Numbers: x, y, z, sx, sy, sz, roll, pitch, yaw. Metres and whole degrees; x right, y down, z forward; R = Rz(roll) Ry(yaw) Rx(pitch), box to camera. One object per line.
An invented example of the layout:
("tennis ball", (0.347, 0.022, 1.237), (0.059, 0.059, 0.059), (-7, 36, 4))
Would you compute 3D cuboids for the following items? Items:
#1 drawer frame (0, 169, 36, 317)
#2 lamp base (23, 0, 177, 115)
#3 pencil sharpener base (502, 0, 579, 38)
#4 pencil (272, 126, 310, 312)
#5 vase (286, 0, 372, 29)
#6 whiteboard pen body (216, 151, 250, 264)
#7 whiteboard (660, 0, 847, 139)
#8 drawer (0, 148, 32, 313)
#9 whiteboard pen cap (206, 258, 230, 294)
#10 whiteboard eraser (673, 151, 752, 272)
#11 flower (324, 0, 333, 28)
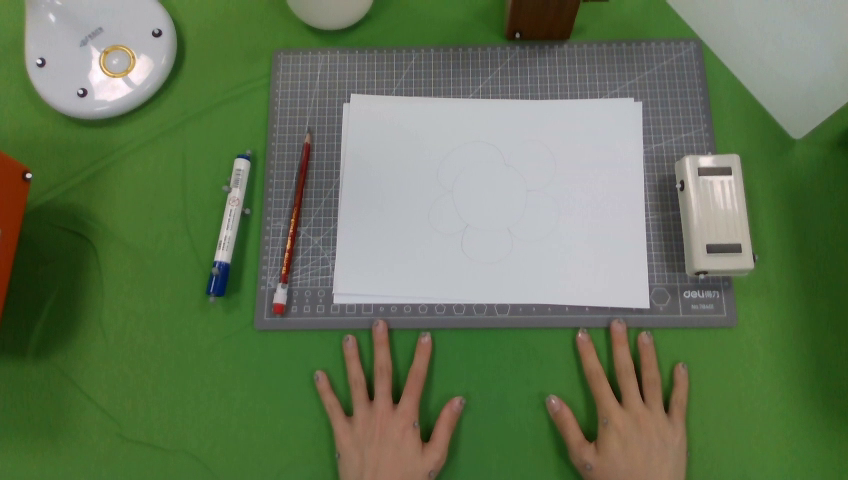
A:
("drawer frame", (-0.484, 0.012, 0.527), (0.213, 0.083, 0.200), (2, 76, 1))
("lamp base", (-0.360, -0.234, 0.578), (0.178, 0.181, 0.160), (32, 78, 13))
("pencil sharpener base", (0.119, -0.254, 0.599), (0.076, 0.107, 0.061), (2, 75, 3))
("pencil", (-0.129, -0.025, 0.599), (0.012, 0.012, 0.193), (5, 74, 5))
("vase", (-0.106, -0.291, 0.572), (0.098, 0.201, 0.097), (-1, 74, 4))
("whiteboard pen body", (-0.190, -0.022, 0.596), (0.017, 0.017, 0.140), (4, 72, 4))
("whiteboard", (0.393, -0.278, 0.522), (0.144, 0.307, 0.216), (-28, 74, -24))
("drawer", (-0.478, 0.010, 0.525), (0.212, 0.073, 0.193), (2, 76, 3))
("whiteboard pen cap", (-0.196, 0.034, 0.578), (0.018, 0.018, 0.033), (4, 69, 4))
("whiteboard eraser", (0.266, -0.026, 0.564), (0.055, 0.042, 0.112), (-1, 75, 1))
("flower", (-0.104, -0.330, 0.497), (0.038, 0.365, 0.043), (-14, 56, -8))
